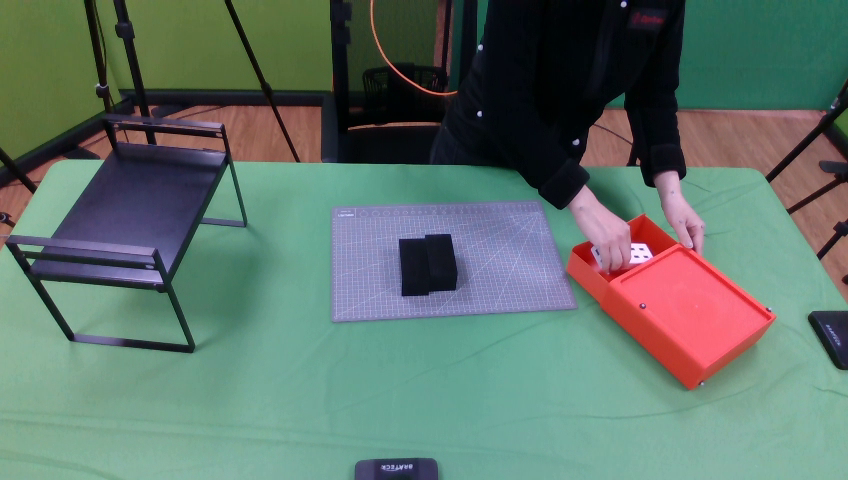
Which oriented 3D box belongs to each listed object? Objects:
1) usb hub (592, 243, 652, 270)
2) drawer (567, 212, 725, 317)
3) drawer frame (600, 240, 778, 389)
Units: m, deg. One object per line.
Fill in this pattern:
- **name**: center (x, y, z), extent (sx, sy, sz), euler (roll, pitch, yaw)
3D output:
- **usb hub**: center (0.378, 0.031, 1.139), extent (0.125, 0.025, 0.049), euler (1, 51, -29)
- **drawer**: center (0.408, 0.063, 1.122), extent (0.195, 0.073, 0.210), euler (-22, 51, -24)
- **drawer frame**: center (0.460, 0.122, 1.068), extent (0.202, 0.083, 0.212), euler (-25, 53, -25)
